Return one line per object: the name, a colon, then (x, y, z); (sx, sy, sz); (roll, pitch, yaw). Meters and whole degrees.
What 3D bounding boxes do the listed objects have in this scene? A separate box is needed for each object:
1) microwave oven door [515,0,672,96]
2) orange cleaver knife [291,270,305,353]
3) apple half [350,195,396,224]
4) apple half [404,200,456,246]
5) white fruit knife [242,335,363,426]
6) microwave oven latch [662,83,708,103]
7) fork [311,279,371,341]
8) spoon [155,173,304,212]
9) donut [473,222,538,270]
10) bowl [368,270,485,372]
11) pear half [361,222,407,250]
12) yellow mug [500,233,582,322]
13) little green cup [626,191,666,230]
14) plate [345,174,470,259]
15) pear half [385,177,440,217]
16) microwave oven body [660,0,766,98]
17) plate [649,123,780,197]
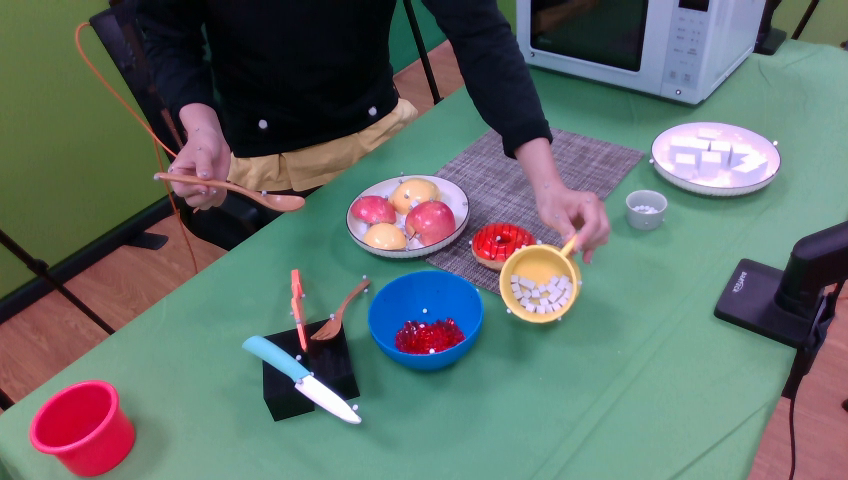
microwave oven door: (0.343, -0.455, 1.259); (0.353, 0.245, 0.039); (26, 51, 33)
orange cleaver knife: (-0.175, 0.094, 0.844); (0.012, 0.077, 0.210); (-11, 14, -10)
apple half: (-0.080, -0.056, 1.009); (0.081, 0.033, 0.081); (10, 25, -4)
apple half: (0.009, -0.035, 0.969); (0.075, 0.053, 0.080); (-27, 40, -22)
white fruit knife: (-0.148, 0.167, 0.730); (0.206, 0.016, 0.027); (26, 80, 31)
microwave oven latch: (0.517, -0.296, 1.204); (0.078, 0.029, 0.030); (28, 52, 35)
fork: (-0.108, 0.092, 0.832); (0.028, 0.019, 0.207); (-8, 19, 15)
spoon: (-0.260, -0.068, 0.822); (0.195, 0.021, 0.041); (14, 31, -21)
donut: (0.124, 0.009, 0.923); (0.099, 0.048, 0.098); (-3, 38, 3)
bowl: (0.007, 0.118, 0.791); (0.151, 0.077, 0.150); (-5, 40, 4)
pear half: (-0.063, -0.012, 0.959); (0.071, 0.031, 0.087); (2, 25, -24)
yellow mug: (0.164, 0.042, 0.796); (0.099, 0.130, 0.064); (39, 11, 12)
little green cup: (0.352, -0.046, 0.963); (0.061, 0.039, 0.061); (-4, 40, 4)
plate: (-0.026, -0.037, 1.004); (0.209, 0.038, 0.208); (-4, 40, 4)
pear half: (-0.030, -0.079, 1.033); (0.109, 0.056, 0.076); (0, 36, 15)
microwave oven body: (0.472, -0.513, 1.317); (0.438, 0.261, 0.327); (26, 51, 34)
plate: (0.497, -0.134, 1.046); (0.207, 0.039, 0.206); (-4, 40, 4)
